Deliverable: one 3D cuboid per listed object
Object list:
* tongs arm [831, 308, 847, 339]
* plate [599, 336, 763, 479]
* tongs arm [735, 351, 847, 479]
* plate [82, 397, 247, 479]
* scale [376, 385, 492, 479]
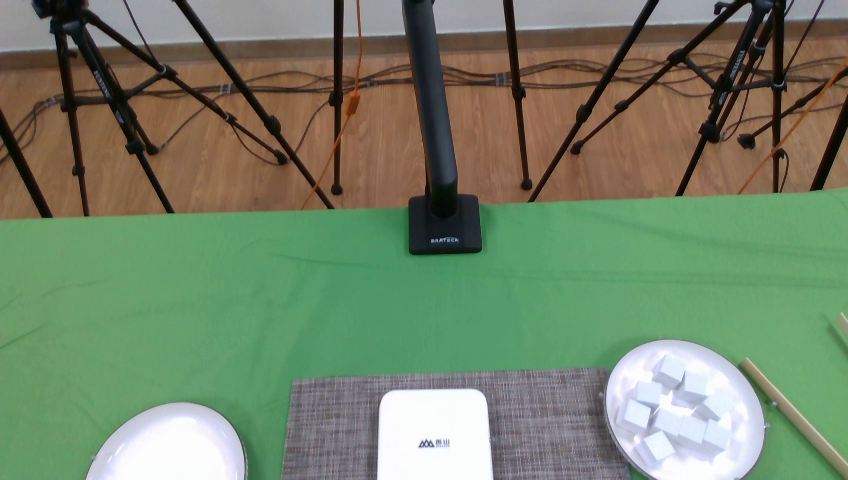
[{"bbox_3d":[0.633,0.264,0.786,0.051,0.027,0.381,-15,59,-7],"label":"tongs arm"},{"bbox_3d":[0.339,0.231,0.815,0.208,0.039,0.205,-1,57,1],"label":"plate"},{"bbox_3d":[0.550,0.295,0.772,0.028,0.028,0.383,-27,61,-18],"label":"tongs arm"},{"bbox_3d":[-0.331,0.309,0.784,0.209,0.038,0.207,-1,57,1],"label":"plate"},{"bbox_3d":[0.012,0.288,0.787,0.149,0.032,0.199,-2,57,1],"label":"scale"}]
